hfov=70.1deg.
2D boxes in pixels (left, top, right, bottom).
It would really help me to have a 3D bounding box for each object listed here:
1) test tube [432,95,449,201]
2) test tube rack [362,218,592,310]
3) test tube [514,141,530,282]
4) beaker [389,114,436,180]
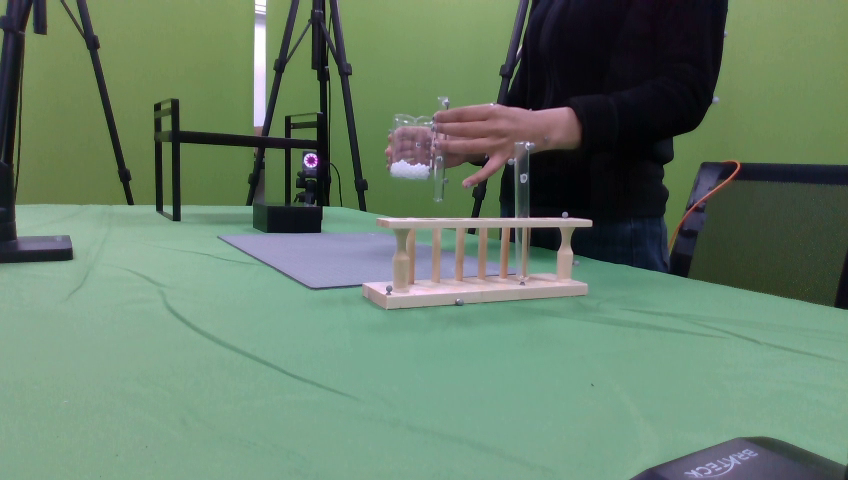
[{"bbox_3d":[0.022,-0.124,0.838,0.017,0.150,0.017,3,24,-1],"label":"test tube"},{"bbox_3d":[0.060,0.018,0.640,0.243,0.085,0.066,-1,8,-27],"label":"test tube rack"},{"bbox_3d":[0.103,-0.029,0.636,0.017,0.150,0.017,-2,12,1],"label":"test tube"},{"bbox_3d":[-0.020,-0.151,0.990,0.074,0.100,0.084,4,3,-6],"label":"beaker"}]
